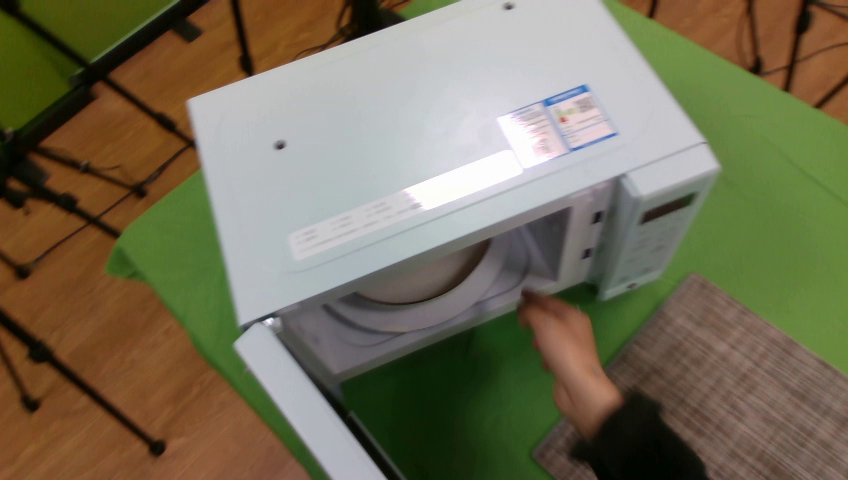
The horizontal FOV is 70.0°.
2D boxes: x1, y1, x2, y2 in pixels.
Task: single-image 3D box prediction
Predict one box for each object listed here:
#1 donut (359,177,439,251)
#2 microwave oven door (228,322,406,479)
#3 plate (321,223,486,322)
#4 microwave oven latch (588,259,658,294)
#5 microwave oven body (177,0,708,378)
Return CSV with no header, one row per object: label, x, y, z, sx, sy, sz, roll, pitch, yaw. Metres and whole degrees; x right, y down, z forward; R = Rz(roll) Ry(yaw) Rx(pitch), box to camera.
donut,-0.029,-0.031,0.735,0.099,0.048,0.098,7,62,-12
microwave oven door,-0.023,0.237,0.536,0.039,0.246,0.353,-41,65,-14
plate,-0.029,0.007,0.708,0.209,0.038,0.207,-7,54,10
microwave oven latch,0.237,0.035,0.725,0.079,0.030,0.030,-22,63,-4
microwave oven body,0.008,-0.062,0.693,0.442,0.262,0.323,-23,63,-4
